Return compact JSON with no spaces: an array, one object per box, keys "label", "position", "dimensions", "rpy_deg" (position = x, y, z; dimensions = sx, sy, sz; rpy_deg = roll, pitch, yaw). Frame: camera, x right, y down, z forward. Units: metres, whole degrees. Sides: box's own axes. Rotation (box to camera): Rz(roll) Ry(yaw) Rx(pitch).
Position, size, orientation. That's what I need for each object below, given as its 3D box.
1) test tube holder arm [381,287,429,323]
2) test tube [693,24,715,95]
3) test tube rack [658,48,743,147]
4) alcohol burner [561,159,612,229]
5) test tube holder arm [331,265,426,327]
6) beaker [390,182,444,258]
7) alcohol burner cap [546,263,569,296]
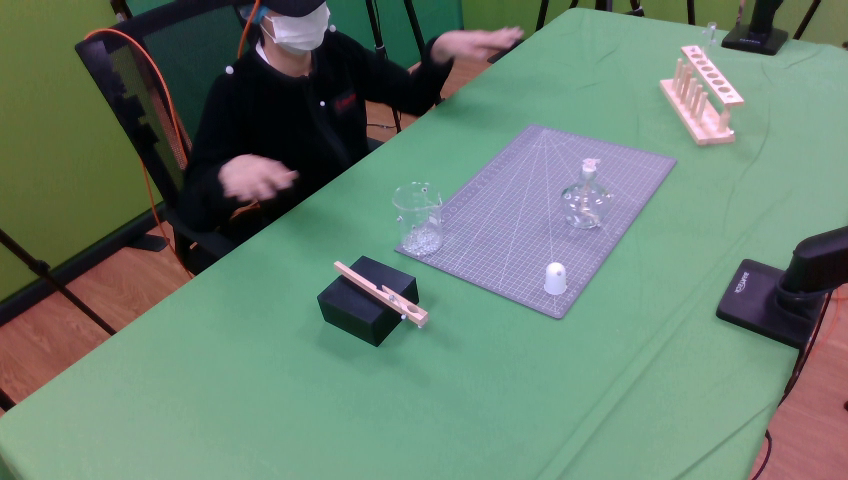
[{"label":"test tube holder arm","position":[-0.028,0.087,0.807],"dimensions":[0.087,0.015,0.010],"rpy_deg":[25,42,33]},{"label":"test tube","position":[0.543,-0.347,1.177],"dimensions":[0.017,0.151,0.017],"rpy_deg":[-5,45,5]},{"label":"test tube rack","position":[0.532,-0.284,1.180],"dimensions":[0.067,0.085,0.241],"rpy_deg":[-5,40,4]},{"label":"alcohol burner","position":[0.257,-0.077,0.951],"dimensions":[0.078,0.119,0.077],"rpy_deg":[-3,40,3]},{"label":"test tube holder arm","position":[-0.066,0.074,0.828],"dimensions":[0.177,0.015,0.013],"rpy_deg":[25,42,33]},{"label":"beaker","position":[-0.005,-0.028,0.946],"dimensions":[0.083,0.101,0.074],"rpy_deg":[15,45,24]},{"label":"alcohol burner cap","position":[0.191,0.053,0.862],"dimensions":[0.034,0.048,0.033],"rpy_deg":[-5,40,4]}]
